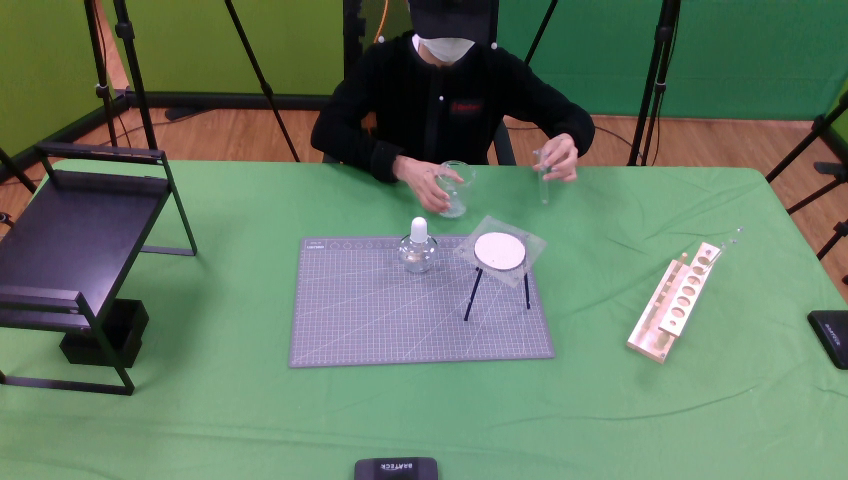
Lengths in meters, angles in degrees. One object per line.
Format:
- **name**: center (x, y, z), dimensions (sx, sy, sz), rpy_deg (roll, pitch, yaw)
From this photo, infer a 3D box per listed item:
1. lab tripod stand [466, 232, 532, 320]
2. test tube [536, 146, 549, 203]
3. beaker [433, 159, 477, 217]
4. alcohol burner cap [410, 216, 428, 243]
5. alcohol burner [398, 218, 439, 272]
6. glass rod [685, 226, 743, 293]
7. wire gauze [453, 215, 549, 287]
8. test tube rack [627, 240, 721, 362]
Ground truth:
- **lab tripod stand**: center (0.125, 0.059, 1.065), dimensions (0.148, 0.132, 0.147), rpy_deg (1, 45, 0)
- **test tube**: center (0.225, -0.121, 1.147), dimensions (0.017, 0.151, 0.017), rpy_deg (-8, 53, 10)
- **beaker**: center (0.060, -0.102, 1.221), dimensions (0.084, 0.101, 0.073), rpy_deg (-9, 51, -15)
- **alcohol burner cap**: center (-0.009, -0.022, 1.099), dimensions (0.034, 0.048, 0.033), rpy_deg (2, 42, -1)
- **alcohol burner**: center (-0.010, 0.004, 1.123), dimensions (0.078, 0.120, 0.077), rpy_deg (1, 47, 0)
- **glass rod**: center (0.500, 0.040, 1.054), dimensions (0.008, 0.200, 0.008), rpy_deg (4, 53, -5)
- **wire gauze**: center (0.129, 0.012, 1.017), dimensions (0.124, 0.011, 0.121), rpy_deg (28, 50, 23)
- **test tube rack**: center (0.452, 0.098, 1.087), dimensions (0.066, 0.085, 0.242), rpy_deg (28, 51, 22)
